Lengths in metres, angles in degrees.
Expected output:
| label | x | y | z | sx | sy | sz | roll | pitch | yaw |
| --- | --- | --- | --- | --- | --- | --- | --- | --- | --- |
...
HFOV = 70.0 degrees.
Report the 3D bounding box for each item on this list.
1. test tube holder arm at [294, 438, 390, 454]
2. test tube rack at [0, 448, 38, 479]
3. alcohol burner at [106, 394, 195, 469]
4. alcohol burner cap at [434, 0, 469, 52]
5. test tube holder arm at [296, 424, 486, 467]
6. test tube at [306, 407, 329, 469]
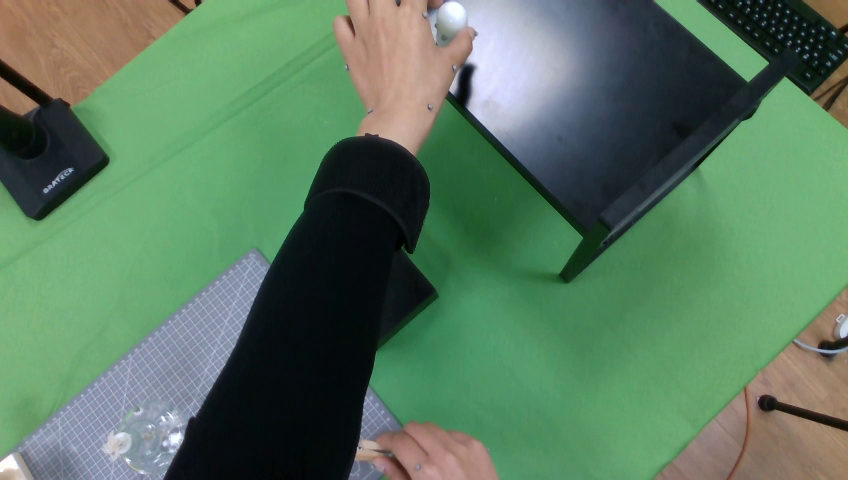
| label | x | y | z | sx | sy | sz | roll | pitch | yaw |
| --- | --- | --- | --- | --- | --- | --- | --- | --- | --- |
| test tube holder arm | -0.075 | 0.191 | 0.559 | 0.088 | 0.015 | 0.010 | 4 | 60 | -6 |
| test tube rack | -0.421 | 0.340 | 0.628 | 0.067 | 0.085 | 0.241 | -37 | 78 | -4 |
| alcohol burner | -0.291 | 0.201 | 0.633 | 0.078 | 0.119 | 0.077 | -1 | 79 | 4 |
| alcohol burner cap | 0.024 | -0.198 | 0.549 | 0.034 | 0.048 | 0.033 | -1 | 74 | 4 |
| test tube holder arm | -0.030 | 0.192 | 0.565 | 0.178 | 0.015 | 0.013 | 9 | 61 | -3 |
| test tube | -0.099 | 0.188 | 0.565 | 0.017 | 0.151 | 0.017 | 4 | 55 | -5 |
